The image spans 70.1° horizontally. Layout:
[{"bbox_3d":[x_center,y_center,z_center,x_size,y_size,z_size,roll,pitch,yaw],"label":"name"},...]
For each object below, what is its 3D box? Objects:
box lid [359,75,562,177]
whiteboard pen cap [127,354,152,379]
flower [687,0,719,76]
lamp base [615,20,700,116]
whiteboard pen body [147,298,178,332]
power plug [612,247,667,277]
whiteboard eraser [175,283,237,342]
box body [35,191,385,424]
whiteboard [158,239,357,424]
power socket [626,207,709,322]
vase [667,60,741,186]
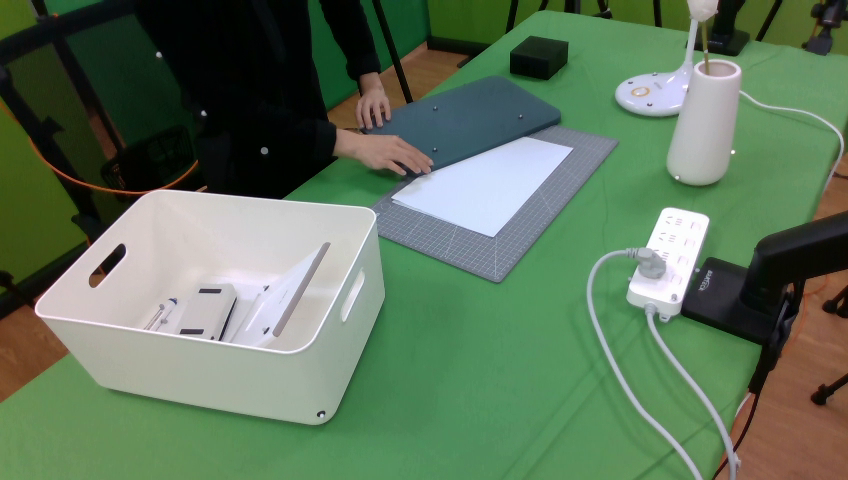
[{"bbox_3d":[0.074,-0.249,1.267,0.373,0.015,0.261,-23,42,-18],"label":"box lid"},{"bbox_3d":[-0.384,0.171,0.820,0.018,0.018,0.033,8,42,17],"label":"whiteboard pen cap"},{"bbox_3d":[0.436,-0.242,0.934,0.038,0.364,0.043,-24,49,9],"label":"flower"},{"bbox_3d":[0.484,-0.364,1.211,0.180,0.181,0.159,-15,41,-14],"label":"lamp base"},{"bbox_3d":[-0.396,0.138,0.868,0.017,0.017,0.140,6,43,15],"label":"whiteboard pen body"},{"bbox_3d":[0.306,0.031,0.852,0.072,0.053,0.035,21,48,38],"label":"power plug"},{"bbox_3d":[-0.296,0.109,0.823,0.055,0.042,0.112,3,42,2],"label":"whiteboard eraser"},{"bbox_3d":[-0.254,0.081,0.807,0.363,0.161,0.253,5,42,14],"label":"box body"},{"bbox_3d":[-0.242,0.093,0.809,0.304,0.144,0.216,5,44,13],"label":"whiteboard"},{"bbox_3d":[0.360,0.026,0.886,0.072,0.033,0.227,17,46,27],"label":"power socket"},{"bbox_3d":[0.463,-0.189,0.994,0.098,0.201,0.097,-4,40,3],"label":"vase"}]
